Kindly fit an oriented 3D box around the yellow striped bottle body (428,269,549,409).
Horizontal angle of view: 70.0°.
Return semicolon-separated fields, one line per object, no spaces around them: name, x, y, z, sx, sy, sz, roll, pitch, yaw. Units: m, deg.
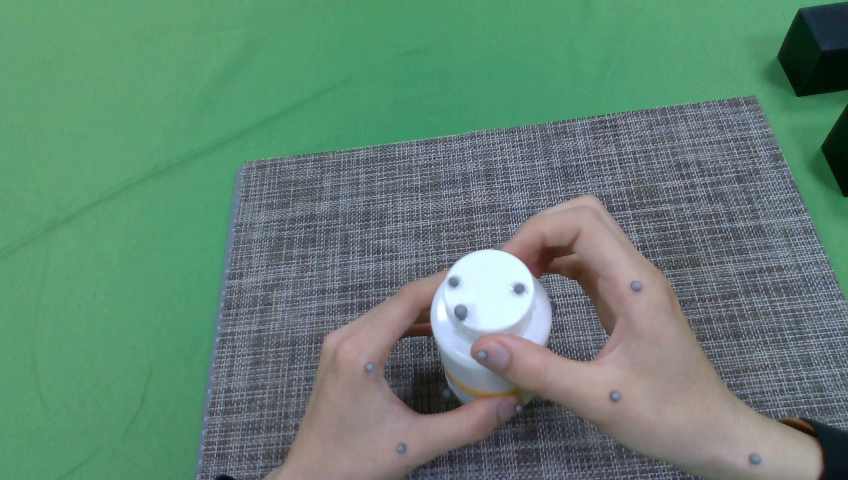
yellow striped bottle body;0.035;0.051;0.339;0.063;0.121;0.062;-2;62;4

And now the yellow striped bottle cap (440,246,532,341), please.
yellow striped bottle cap;0.030;0.025;0.292;0.044;0.019;0.044;-3;63;6
